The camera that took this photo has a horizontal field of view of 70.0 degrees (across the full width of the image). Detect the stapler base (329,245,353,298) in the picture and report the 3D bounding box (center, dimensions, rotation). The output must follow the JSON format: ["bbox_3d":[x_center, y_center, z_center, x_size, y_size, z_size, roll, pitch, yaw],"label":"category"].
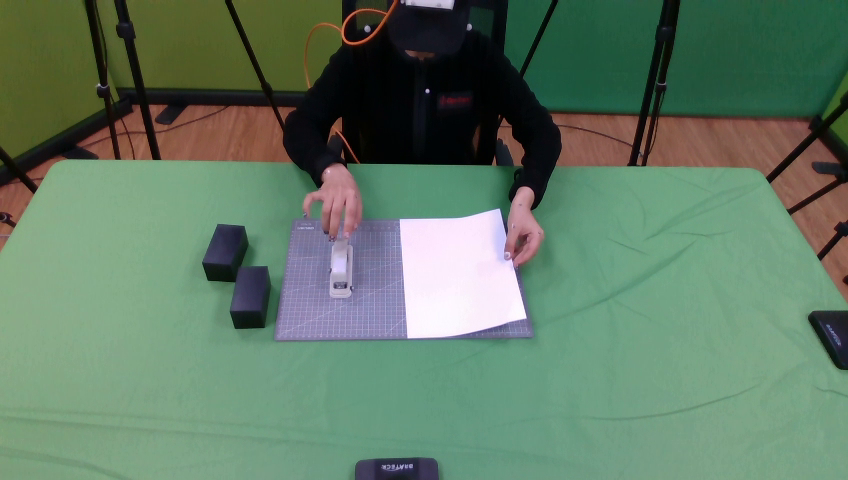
[{"bbox_3d":[-0.155,0.051,1.133,0.041,0.024,0.129,1,44,-6],"label":"stapler base"}]

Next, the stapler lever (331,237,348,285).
[{"bbox_3d":[-0.155,0.032,1.116,0.027,0.040,0.117,1,44,-6],"label":"stapler lever"}]
